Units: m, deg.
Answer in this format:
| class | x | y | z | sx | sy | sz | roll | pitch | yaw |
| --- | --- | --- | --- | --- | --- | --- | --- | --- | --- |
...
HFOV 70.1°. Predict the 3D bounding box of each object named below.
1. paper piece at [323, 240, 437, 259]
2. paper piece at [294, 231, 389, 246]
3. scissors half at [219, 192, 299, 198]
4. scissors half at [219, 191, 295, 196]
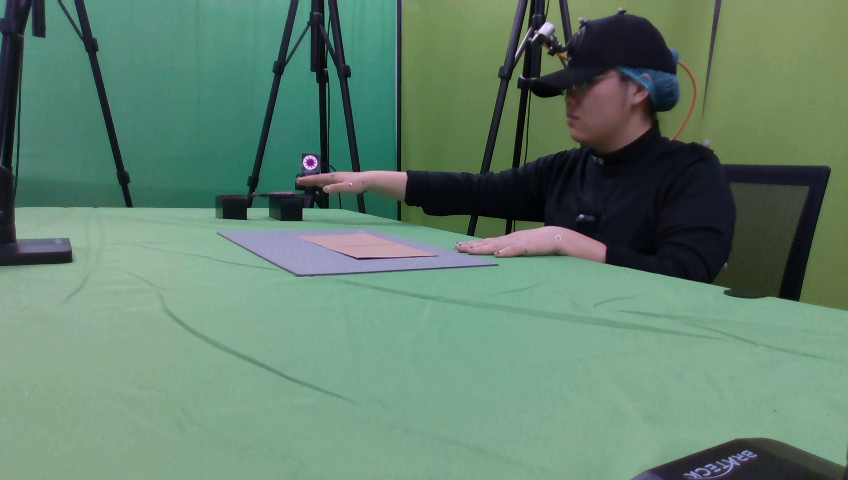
| class | x | y | z | sx | sy | sz | roll | pitch | yaw |
| --- | --- | --- | --- | --- | --- | --- | --- | --- | --- |
| paper piece | -0.069 | 0.015 | 0.932 | 0.137 | 0.008 | 0.137 | -5 | 11 | -30 |
| paper piece | -0.138 | -0.003 | 1.045 | 0.136 | 0.004 | 0.134 | -3 | 10 | -31 |
| scissors half | -0.370 | -0.101 | 1.362 | 0.176 | 0.013 | 0.040 | -1 | 7 | -19 |
| scissors half | -0.380 | -0.105 | 1.380 | 0.176 | 0.013 | 0.040 | -4 | 14 | -36 |
